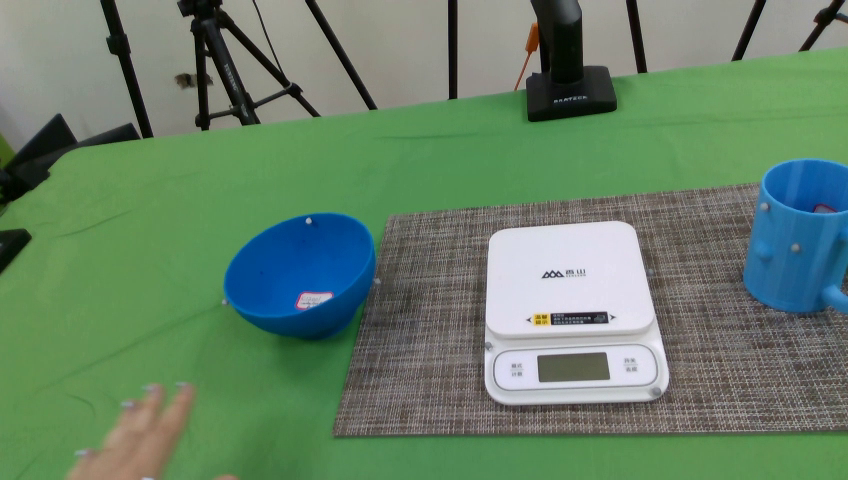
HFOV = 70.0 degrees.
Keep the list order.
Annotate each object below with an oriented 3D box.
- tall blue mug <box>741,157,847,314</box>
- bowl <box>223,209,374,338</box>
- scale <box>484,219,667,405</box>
[{"bbox_3d":[0.327,0.002,0.500,0.078,0.109,0.106,-38,45,-27],"label":"tall blue mug"},{"bbox_3d":[-0.116,0.046,0.613,0.151,0.077,0.150,-8,40,7],"label":"bowl"},{"bbox_3d":[0.130,0.058,0.556,0.148,0.032,0.199,-5,41,12],"label":"scale"}]
